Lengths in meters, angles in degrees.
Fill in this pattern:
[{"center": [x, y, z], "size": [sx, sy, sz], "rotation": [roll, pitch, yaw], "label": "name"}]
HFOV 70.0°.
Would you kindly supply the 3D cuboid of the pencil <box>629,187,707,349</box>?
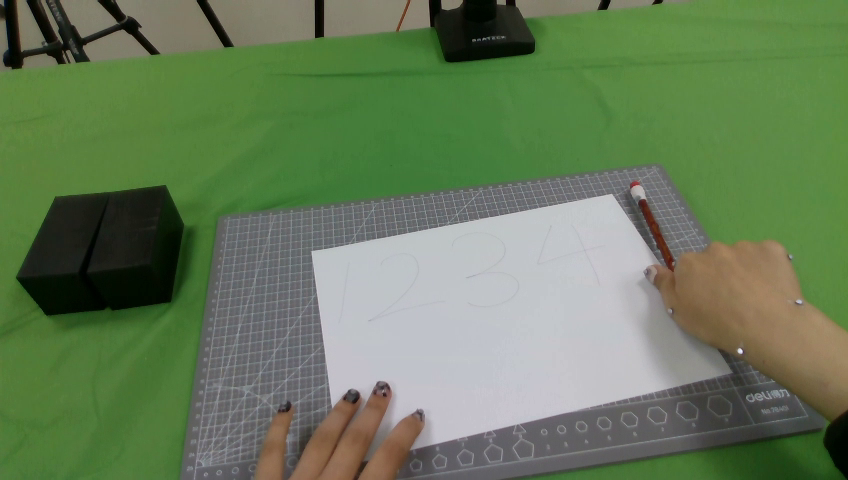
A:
[{"center": [0.209, 0.016, 0.527], "size": [0.012, 0.012, 0.192], "rotation": [-3, 44, 0], "label": "pencil"}]
